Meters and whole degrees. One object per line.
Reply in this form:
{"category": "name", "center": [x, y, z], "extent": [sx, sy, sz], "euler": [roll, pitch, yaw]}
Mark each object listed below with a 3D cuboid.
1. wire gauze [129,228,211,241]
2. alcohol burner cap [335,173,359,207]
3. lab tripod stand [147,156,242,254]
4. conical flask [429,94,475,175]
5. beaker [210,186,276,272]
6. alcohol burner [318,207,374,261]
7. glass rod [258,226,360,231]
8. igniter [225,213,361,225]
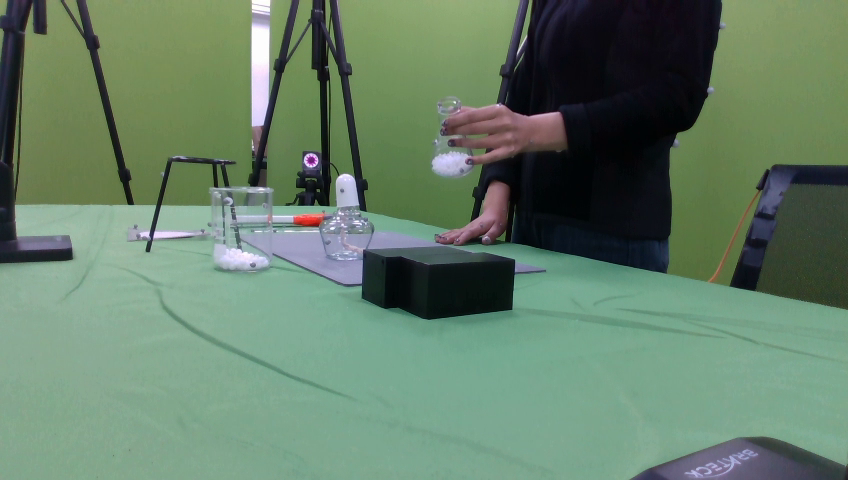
{"category": "wire gauze", "center": [-0.419, -0.010, 0.999], "extent": [0.122, 0.011, 0.124], "euler": [0, 6, -25]}
{"category": "alcohol burner cap", "center": [-0.108, -0.068, 0.829], "extent": [0.034, 0.048, 0.034], "euler": [-7, 4, 1]}
{"category": "lab tripod stand", "center": [-0.310, -0.050, 0.858], "extent": [0.148, 0.131, 0.148], "euler": [4, 6, 0]}
{"category": "conical flask", "center": [0.042, -0.168, 0.951], "extent": [0.075, 0.122, 0.075], "euler": [-3, 45, 3]}
{"category": "beaker", "center": [-0.224, -0.014, 0.738], "extent": [0.084, 0.100, 0.074], "euler": [4, 7, 16]}
{"category": "alcohol burner", "center": [-0.107, -0.032, 0.833], "extent": [0.078, 0.119, 0.078], "euler": [1, 6, 0]}
{"category": "glass rod", "center": [-0.215, -0.022, 1.151], "extent": [0.201, 0.008, 0.008], "euler": [-2, 8, -27]}
{"category": "igniter", "center": [-0.257, -0.042, 1.221], "extent": [0.278, 0.025, 0.057], "euler": [-2, -2, -32]}
